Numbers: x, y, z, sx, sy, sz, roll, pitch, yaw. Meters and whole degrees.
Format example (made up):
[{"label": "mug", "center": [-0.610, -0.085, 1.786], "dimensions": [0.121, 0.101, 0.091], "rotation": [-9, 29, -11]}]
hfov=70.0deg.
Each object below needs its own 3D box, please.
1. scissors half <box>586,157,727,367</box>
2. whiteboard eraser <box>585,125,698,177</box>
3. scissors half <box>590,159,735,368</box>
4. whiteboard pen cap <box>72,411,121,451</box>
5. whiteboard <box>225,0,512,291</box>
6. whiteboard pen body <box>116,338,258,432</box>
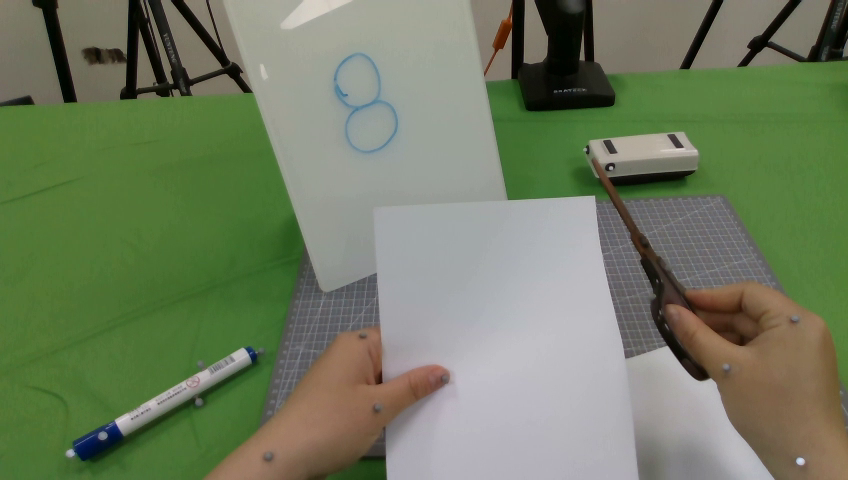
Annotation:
[{"label": "scissors half", "center": [0.149, 0.006, 0.409], "dimensions": [0.040, 0.013, 0.173], "rotation": [20, 39, -44]}, {"label": "whiteboard eraser", "center": [0.244, -0.100, 0.685], "dimensions": [0.113, 0.042, 0.055], "rotation": [-4, 43, -1]}, {"label": "scissors half", "center": [0.161, 0.010, 0.424], "dimensions": [0.013, 0.040, 0.173], "rotation": [-37, 65, 22]}, {"label": "whiteboard pen cap", "center": [-0.244, 0.142, 0.455], "dimensions": [0.033, 0.018, 0.018], "rotation": [-30, 47, -28]}, {"label": "whiteboard", "center": [-0.063, -0.144, 0.607], "dimensions": [0.217, 0.307, 0.142], "rotation": [-22, 23, -18]}, {"label": "whiteboard pen body", "center": [-0.198, 0.119, 0.483], "dimensions": [0.141, 0.017, 0.017], "rotation": [-30, 47, -28]}]
